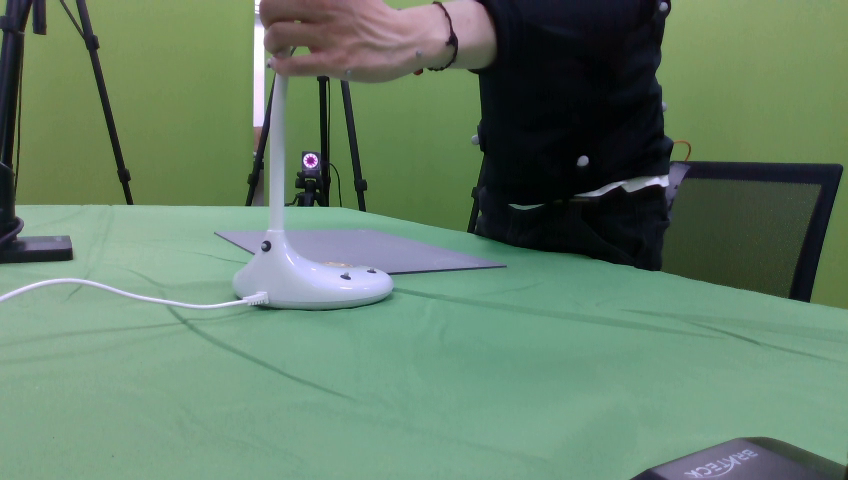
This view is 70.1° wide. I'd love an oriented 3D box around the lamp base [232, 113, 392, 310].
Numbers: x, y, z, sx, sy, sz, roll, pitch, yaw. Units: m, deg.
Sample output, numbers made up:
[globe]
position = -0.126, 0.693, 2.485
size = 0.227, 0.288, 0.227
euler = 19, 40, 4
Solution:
[lamp base]
position = -0.113, -0.031, 0.593
size = 0.160, 0.180, 0.179
euler = 5, 10, 18
